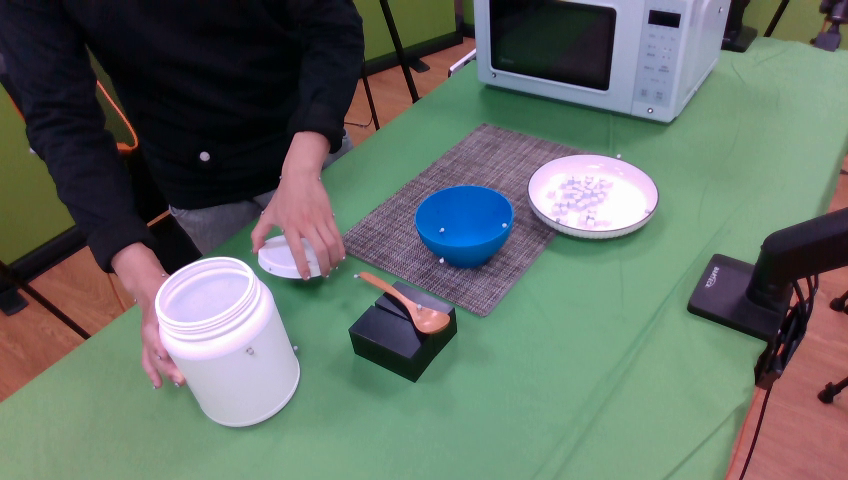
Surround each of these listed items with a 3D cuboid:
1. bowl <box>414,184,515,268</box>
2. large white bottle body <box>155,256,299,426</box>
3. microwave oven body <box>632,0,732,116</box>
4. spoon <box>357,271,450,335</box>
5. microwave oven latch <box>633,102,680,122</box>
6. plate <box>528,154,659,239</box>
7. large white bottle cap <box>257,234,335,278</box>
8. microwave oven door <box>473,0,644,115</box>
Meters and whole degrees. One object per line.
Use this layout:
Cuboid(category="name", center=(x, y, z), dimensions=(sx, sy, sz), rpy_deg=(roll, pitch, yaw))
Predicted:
Cuboid(category="bowl", center=(0.063, -0.010, 0.922), dimensions=(0.151, 0.077, 0.150), rpy_deg=(-4, 40, 4))
Cuboid(category="large white bottle body", center=(-0.236, 0.122, 0.732), dimensions=(0.130, 0.185, 0.130), rpy_deg=(-4, 41, 4))
Cuboid(category="microwave oven body", center=(0.377, -0.462, 1.267), dimensions=(0.438, 0.261, 0.327), rpy_deg=(21, 48, 30))
Cuboid(category="spoon", center=(-0.034, 0.078, 0.812), dimensions=(0.042, 0.022, 0.192), rpy_deg=(-36, 43, -23))
Cuboid(category="microwave oven latch", center=(0.444, -0.249, 1.157), dimensions=(0.078, 0.029, 0.030), rpy_deg=(21, 49, 30))
Cuboid(category="plate", center=(0.274, -0.069, 0.993), dimensions=(0.209, 0.038, 0.208), rpy_deg=(-2, 42, 2))
Cuboid(category="large white bottle cap", center=(-0.192, 0.023, 0.907), dimensions=(0.115, 0.018, 0.114), rpy_deg=(6, 25, -2))
Cuboid(category="microwave oven door", center=(0.257, -0.396, 1.199), dimensions=(0.353, 0.245, 0.039), rpy_deg=(21, 48, 29))
